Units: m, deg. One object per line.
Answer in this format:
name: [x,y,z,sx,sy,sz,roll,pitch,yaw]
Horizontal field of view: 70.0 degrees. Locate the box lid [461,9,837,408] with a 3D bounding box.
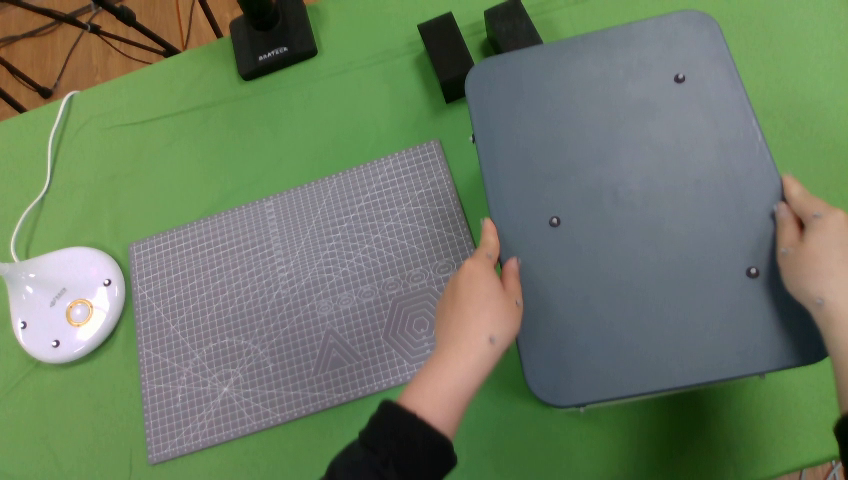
box lid: [0.189,-0.048,0.571,0.263,0.015,0.368,-12,69,7]

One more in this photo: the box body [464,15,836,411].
box body: [0.203,-0.019,0.638,0.254,0.162,0.361,-13,68,7]

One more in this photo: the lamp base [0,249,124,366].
lamp base: [-0.501,0.057,0.742,0.178,0.182,0.160,19,74,20]

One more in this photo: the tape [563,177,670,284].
tape: [0.216,-0.011,0.686,0.116,0.053,0.116,-4,69,10]
